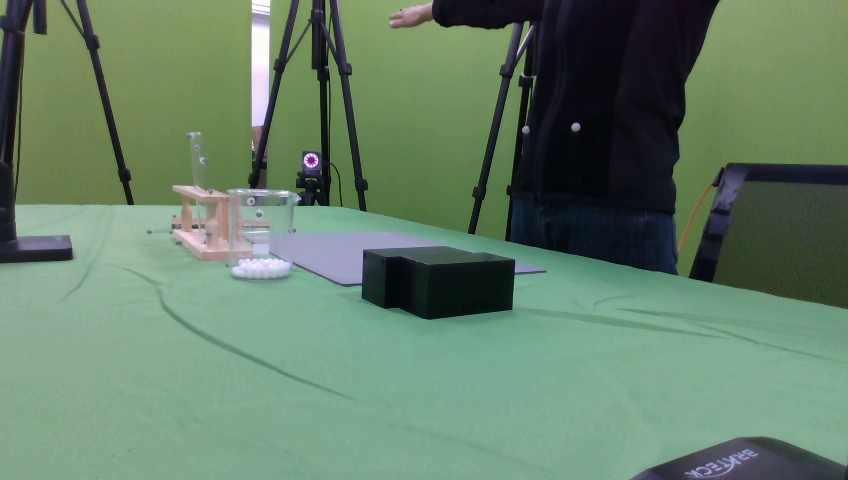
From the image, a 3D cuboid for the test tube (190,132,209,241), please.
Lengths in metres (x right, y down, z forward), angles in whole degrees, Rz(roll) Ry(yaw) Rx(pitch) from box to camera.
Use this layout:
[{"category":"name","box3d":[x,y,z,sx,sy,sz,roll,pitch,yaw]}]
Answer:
[{"category":"test tube","box3d":[-0.308,-0.074,0.840,0.017,0.150,0.017,-4,6,1]}]

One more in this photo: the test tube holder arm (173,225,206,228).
[{"category":"test tube holder arm","box3d":[-0.414,-0.030,1.113,0.088,0.015,0.010,-1,-21,-25]}]

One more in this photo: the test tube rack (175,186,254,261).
[{"category":"test tube rack","box3d":[-0.314,-0.030,0.889,0.067,0.085,0.241,-2,8,-30]}]

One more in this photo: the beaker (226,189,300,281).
[{"category":"beaker","box3d":[-0.184,-0.007,0.694,0.084,0.100,0.073,-1,8,-29]}]

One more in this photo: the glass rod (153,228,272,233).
[{"category":"glass rod","box3d":[-0.368,-0.017,1.065,0.201,0.008,0.008,-2,8,-27]}]

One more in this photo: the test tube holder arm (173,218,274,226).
[{"category":"test tube holder arm","box3d":[-0.371,-0.033,1.128,0.179,0.015,0.013,-1,-21,-25]}]
